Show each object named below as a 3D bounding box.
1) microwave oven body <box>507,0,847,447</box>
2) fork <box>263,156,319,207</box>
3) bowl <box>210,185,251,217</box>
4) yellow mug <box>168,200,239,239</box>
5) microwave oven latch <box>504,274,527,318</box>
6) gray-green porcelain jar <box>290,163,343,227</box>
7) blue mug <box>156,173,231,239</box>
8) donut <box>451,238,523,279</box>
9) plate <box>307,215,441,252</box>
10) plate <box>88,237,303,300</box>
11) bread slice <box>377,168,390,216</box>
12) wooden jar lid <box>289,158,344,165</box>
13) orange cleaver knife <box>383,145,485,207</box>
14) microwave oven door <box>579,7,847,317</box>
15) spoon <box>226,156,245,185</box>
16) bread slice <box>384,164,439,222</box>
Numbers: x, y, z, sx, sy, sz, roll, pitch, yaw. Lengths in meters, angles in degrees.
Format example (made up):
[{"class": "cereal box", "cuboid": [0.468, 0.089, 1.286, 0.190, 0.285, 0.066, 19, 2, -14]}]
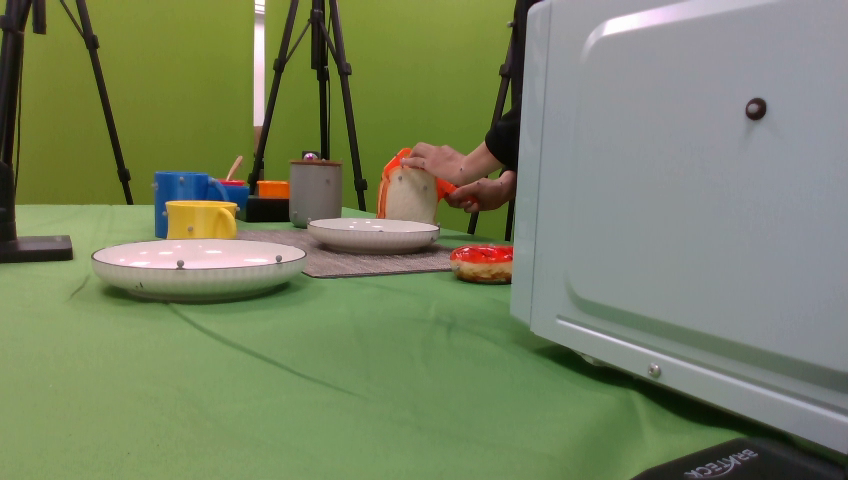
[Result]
[{"class": "microwave oven body", "cuboid": [0.331, -0.042, 0.425, 0.444, 0.260, 0.324, -2, 8, -31]}, {"class": "fork", "cuboid": [-0.331, -0.144, 1.505, 0.207, 0.018, 0.028, -42, -21, 22]}, {"class": "bowl", "cuboid": [-0.408, -0.064, 1.155, 0.151, 0.077, 0.151, 2, 8, 0]}, {"class": "yellow mug", "cuboid": [-0.320, -0.023, 0.904, 0.130, 0.064, 0.100, 9, 11, 36]}, {"class": "microwave oven latch", "cuboid": [0.100, 0.041, 0.470, 0.079, 0.029, 0.030, -1, 7, -27]}, {"class": "gray-green porcelain jar", "cuboid": [-0.217, -0.091, 1.221, 0.106, 0.126, 0.106, 2, 7, 0]}, {"class": "blue mug", "cuboid": [-0.381, -0.057, 1.004, 0.117, 0.106, 0.082, 1, 8, -12]}, {"class": "donut", "cuboid": [0.083, 0.022, 0.745, 0.099, 0.048, 0.099, 1, 5, 0]}, {"class": "plate", "cuboid": [-0.078, -0.012, 0.953, 0.209, 0.038, 0.209, 2, 8, 0]}, {"class": "plate", "cuboid": [-0.233, 0.029, 0.637, 0.208, 0.039, 0.207, 2, 7, 0]}, {"class": "bread slice", "cuboid": [-0.040, -0.081, 1.165, 0.105, 0.131, 0.019, 4, -1, -23]}, {"class": "wooden jar lid", "cuboid": [-0.215, -0.153, 1.212, 0.108, 0.020, 0.108, 2, 5, 0]}, {"class": "orange cleaver knife", "cuboid": [0.021, -0.106, 1.172, 0.212, 0.077, 0.012, 31, 8, -17]}, {"class": "microwave oven door", "cuboid": [0.294, -0.067, 0.570, 0.358, 0.243, 0.039, -3, 9, -31]}, {"class": "spoon", "cuboid": [-0.477, -0.145, 1.492, 0.041, 0.022, 0.193, 0, 51, 12]}, {"class": "bread slice", "cuboid": [-0.026, -0.073, 1.118, 0.107, 0.134, 0.018, -2, 11, -19]}]
